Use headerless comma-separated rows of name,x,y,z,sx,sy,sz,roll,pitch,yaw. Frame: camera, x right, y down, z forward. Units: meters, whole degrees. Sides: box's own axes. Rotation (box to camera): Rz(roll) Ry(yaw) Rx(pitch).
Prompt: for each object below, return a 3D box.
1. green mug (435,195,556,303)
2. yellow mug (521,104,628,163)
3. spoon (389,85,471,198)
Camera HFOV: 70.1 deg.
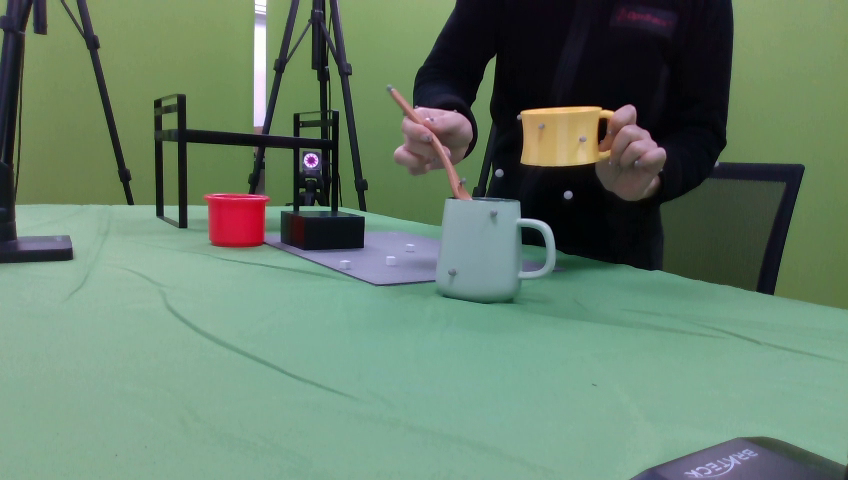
green mug,0.074,0.009,0.624,0.125,0.105,0.093,6,7,23
yellow mug,0.187,-0.135,0.757,0.130,0.064,0.100,2,15,17
spoon,0.016,-0.095,0.651,0.021,0.193,0.042,-36,-16,21
